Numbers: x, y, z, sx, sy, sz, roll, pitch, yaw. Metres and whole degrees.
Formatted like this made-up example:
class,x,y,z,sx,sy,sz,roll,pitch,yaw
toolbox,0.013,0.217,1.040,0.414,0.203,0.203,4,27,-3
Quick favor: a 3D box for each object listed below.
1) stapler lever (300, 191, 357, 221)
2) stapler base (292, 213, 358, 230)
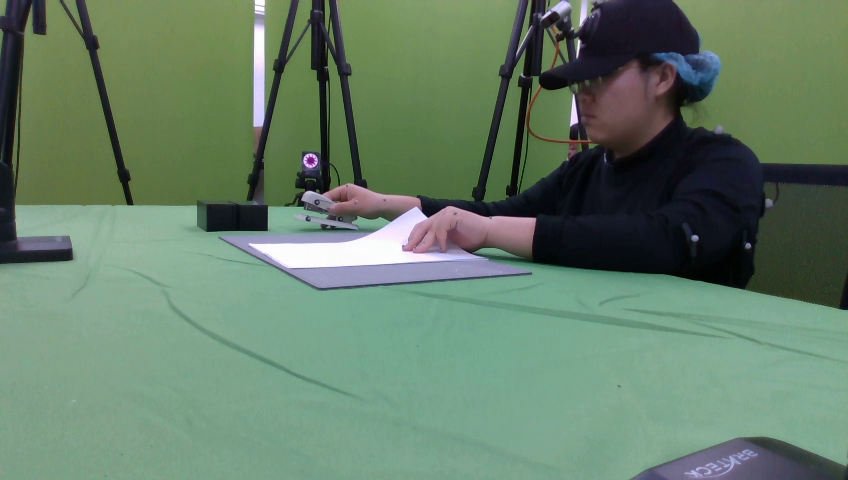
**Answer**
class,x,y,z,sx,sy,sz,roll,pitch,yaw
stapler lever,-0.187,-0.067,1.194,0.119,0.040,0.026,12,3,-34
stapler base,-0.193,-0.043,1.194,0.131,0.024,0.041,12,3,-34
